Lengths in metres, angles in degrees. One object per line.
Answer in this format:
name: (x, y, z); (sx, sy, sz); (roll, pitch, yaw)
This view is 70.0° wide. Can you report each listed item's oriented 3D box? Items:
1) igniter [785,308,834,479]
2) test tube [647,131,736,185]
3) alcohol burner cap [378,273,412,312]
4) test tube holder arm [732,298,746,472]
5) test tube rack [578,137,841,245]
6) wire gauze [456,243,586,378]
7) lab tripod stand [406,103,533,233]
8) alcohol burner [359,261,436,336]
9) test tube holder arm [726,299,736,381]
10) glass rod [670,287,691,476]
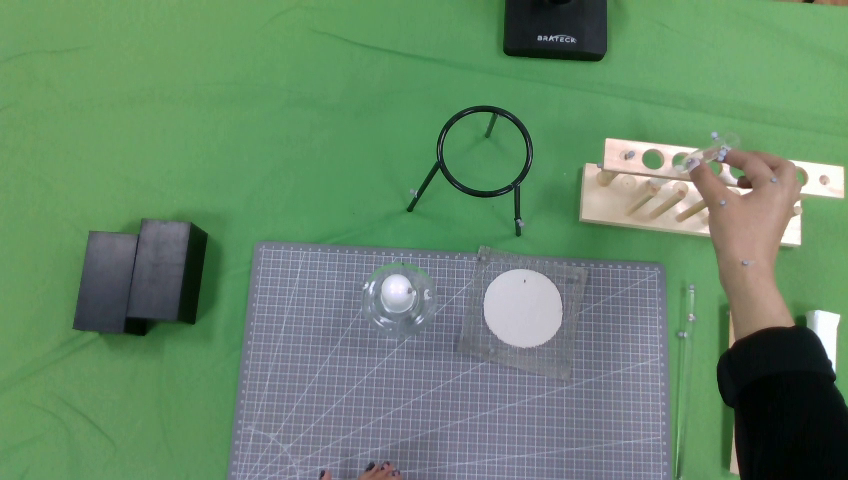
igniter: (0.400, 0.207, 0.624); (0.057, 0.025, 0.275); (12, 78, -9)
test tube: (0.259, -0.078, 0.599); (0.017, 0.150, 0.017); (1, 82, -4)
alcohol burner cap: (-0.027, 0.046, 0.563); (0.034, 0.048, 0.033); (1, 72, -2)
test tube holder arm: (0.331, 0.150, 0.637); (0.013, 0.015, 0.177); (-6, 74, 37)
test tube rack: (0.296, -0.050, 0.646); (0.242, 0.085, 0.066); (7, 78, 0)
wire gauze: (0.105, 0.074, 0.652); (0.125, 0.011, 0.121); (14, 79, 1)
lab tripod stand: (0.051, -0.069, 0.619); (0.148, 0.132, 0.148); (0, 80, -1)
alcohol burner: (-0.027, 0.055, 0.598); (0.078, 0.119, 0.077); (0, 78, 1)
test tube holder arm: (0.330, 0.107, 0.649); (0.010, 0.015, 0.087); (-4, 75, 37)
glass rod: (0.272, 0.147, 0.642); (0.008, 0.008, 0.199); (9, 80, 0)
